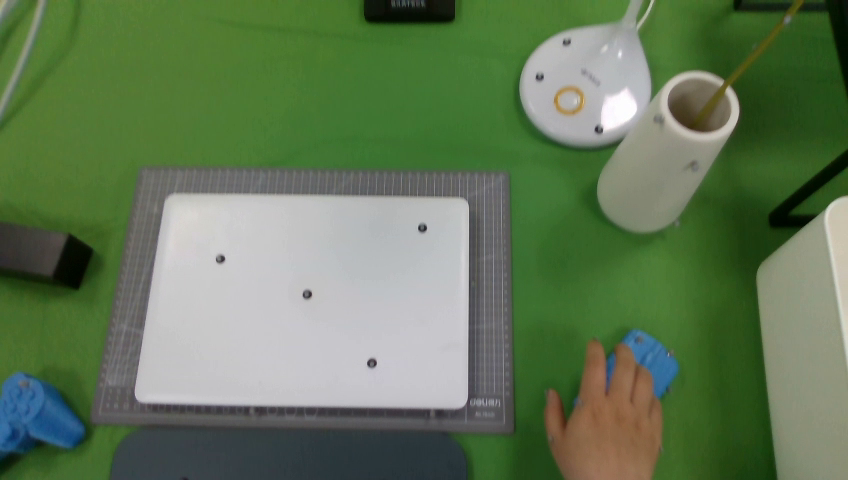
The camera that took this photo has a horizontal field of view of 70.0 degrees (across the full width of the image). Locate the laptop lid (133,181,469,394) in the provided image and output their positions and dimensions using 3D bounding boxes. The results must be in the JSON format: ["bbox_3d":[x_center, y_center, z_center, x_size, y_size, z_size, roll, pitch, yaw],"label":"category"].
[{"bbox_3d":[-0.128,0.046,0.659,0.357,0.013,0.240,2,74,2],"label":"laptop lid"}]

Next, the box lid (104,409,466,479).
[{"bbox_3d":[-0.144,0.303,0.593,0.371,0.015,0.261,1,72,1],"label":"box lid"}]

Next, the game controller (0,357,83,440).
[{"bbox_3d":[-0.443,0.190,0.616,0.155,0.052,0.096,-36,72,-11],"label":"game controller"}]

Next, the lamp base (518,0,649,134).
[{"bbox_3d":[0.200,-0.238,0.674,0.160,0.181,0.179,33,73,12],"label":"lamp base"}]

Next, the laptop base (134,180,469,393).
[{"bbox_3d":[-0.128,0.047,0.671,0.354,0.023,0.234,1,75,1],"label":"laptop base"}]

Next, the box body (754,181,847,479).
[{"bbox_3d":[0.471,0.148,0.551,0.254,0.161,0.361,3,72,3],"label":"box body"}]

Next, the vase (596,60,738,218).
[{"bbox_3d":[0.241,-0.097,0.617,0.098,0.201,0.097,-1,70,3],"label":"vase"}]

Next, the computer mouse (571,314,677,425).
[{"bbox_3d":[0.209,0.131,0.627,0.062,0.041,0.117,41,73,16],"label":"computer mouse"}]

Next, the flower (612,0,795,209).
[{"bbox_3d":[0.255,-0.131,0.541,0.038,0.363,0.043,-7,61,-19],"label":"flower"}]
